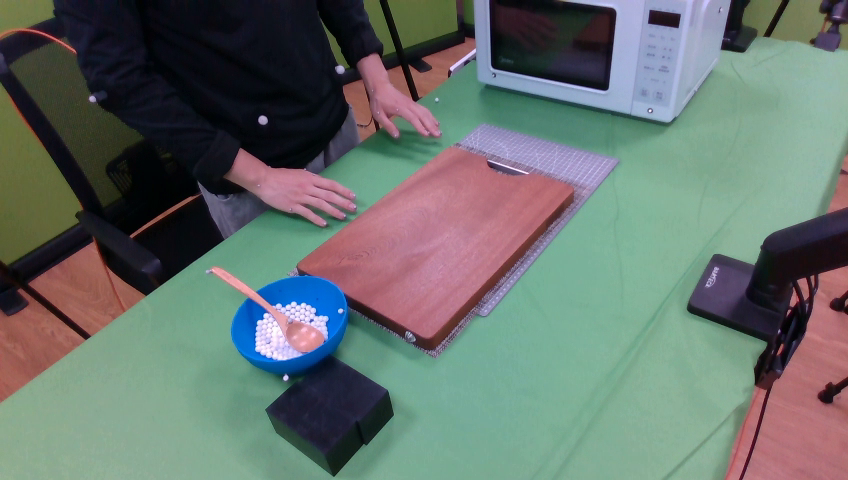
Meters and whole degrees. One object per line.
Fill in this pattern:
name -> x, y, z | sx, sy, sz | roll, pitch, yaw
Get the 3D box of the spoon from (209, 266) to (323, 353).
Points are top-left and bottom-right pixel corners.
spoon -> -0.213, 0.087, 0.806 | 0.193, 0.021, 0.042 | 37, 57, 11

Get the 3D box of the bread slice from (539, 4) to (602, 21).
bread slice -> 0.313, -0.483, 1.278 | 0.106, 0.018, 0.135 | 14, 31, 26

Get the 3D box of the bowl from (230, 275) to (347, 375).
bowl -> -0.171, 0.125, 0.802 | 0.151, 0.077, 0.150 | -4, 40, 4

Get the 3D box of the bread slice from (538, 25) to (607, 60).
bread slice -> 0.334, -0.441, 1.337 | 0.132, 0.019, 0.104 | -34, 43, -21

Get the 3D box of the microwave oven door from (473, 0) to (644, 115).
microwave oven door -> 0.257, -0.396, 1.199 | 0.353, 0.245, 0.039 | 21, 48, 29

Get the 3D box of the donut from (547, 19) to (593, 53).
donut -> 0.313, -0.440, 1.300 | 0.099, 0.048, 0.098 | -19, 36, 15

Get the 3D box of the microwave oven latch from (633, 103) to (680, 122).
microwave oven latch -> 0.443, -0.249, 1.157 | 0.078, 0.029, 0.030 | 20, 48, 30

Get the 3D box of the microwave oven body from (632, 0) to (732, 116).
microwave oven body -> 0.377, -0.462, 1.267 | 0.438, 0.261, 0.327 | 21, 48, 30
